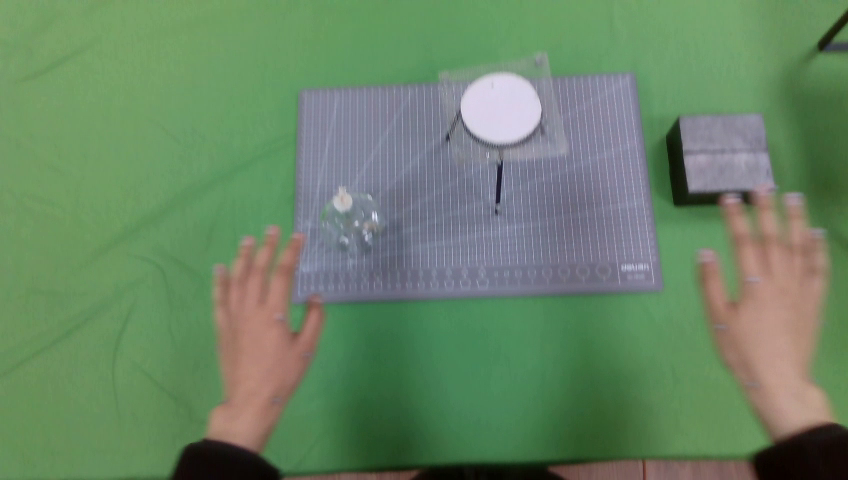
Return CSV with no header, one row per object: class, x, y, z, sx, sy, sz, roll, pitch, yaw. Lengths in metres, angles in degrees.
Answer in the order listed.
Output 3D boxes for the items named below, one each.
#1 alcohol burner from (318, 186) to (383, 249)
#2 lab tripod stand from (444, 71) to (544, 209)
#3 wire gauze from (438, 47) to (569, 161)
alcohol burner,-0.089,-0.032,0.708,0.078,0.120,0.077,-1,72,2
lab tripod stand,0.089,-0.129,0.715,0.148,0.132,0.147,-1,72,2
wire gauze,0.083,-0.145,0.651,0.125,0.011,0.120,-8,74,0
